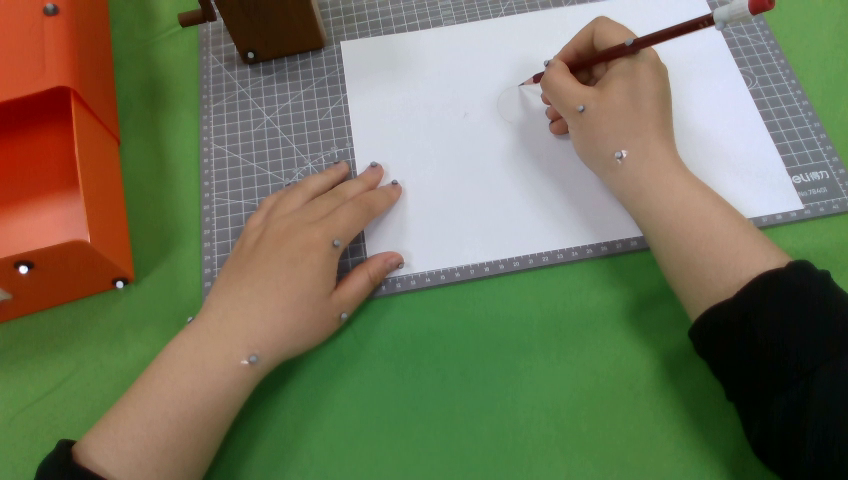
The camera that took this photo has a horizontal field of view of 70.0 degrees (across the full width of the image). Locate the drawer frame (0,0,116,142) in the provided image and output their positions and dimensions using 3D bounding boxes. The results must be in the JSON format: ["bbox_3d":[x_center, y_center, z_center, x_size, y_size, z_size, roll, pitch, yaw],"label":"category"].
[{"bbox_3d":[-0.354,-0.145,0.457,0.202,0.083,0.211,-18,65,-4],"label":"drawer frame"}]

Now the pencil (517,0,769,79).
[{"bbox_3d":[0.119,-0.122,0.378,0.012,0.193,0.012,-1,91,-30],"label":"pencil"}]

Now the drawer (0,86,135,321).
[{"bbox_3d":[-0.318,-0.044,0.412,0.194,0.074,0.210,-18,66,-4],"label":"drawer"}]

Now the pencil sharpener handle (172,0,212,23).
[{"bbox_3d":[-0.177,-0.185,0.435,0.030,0.068,0.035,-16,63,-3],"label":"pencil sharpener handle"}]

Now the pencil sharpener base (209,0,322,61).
[{"bbox_3d":[-0.127,-0.195,0.449,0.077,0.108,0.061,-16,66,-3],"label":"pencil sharpener base"}]
